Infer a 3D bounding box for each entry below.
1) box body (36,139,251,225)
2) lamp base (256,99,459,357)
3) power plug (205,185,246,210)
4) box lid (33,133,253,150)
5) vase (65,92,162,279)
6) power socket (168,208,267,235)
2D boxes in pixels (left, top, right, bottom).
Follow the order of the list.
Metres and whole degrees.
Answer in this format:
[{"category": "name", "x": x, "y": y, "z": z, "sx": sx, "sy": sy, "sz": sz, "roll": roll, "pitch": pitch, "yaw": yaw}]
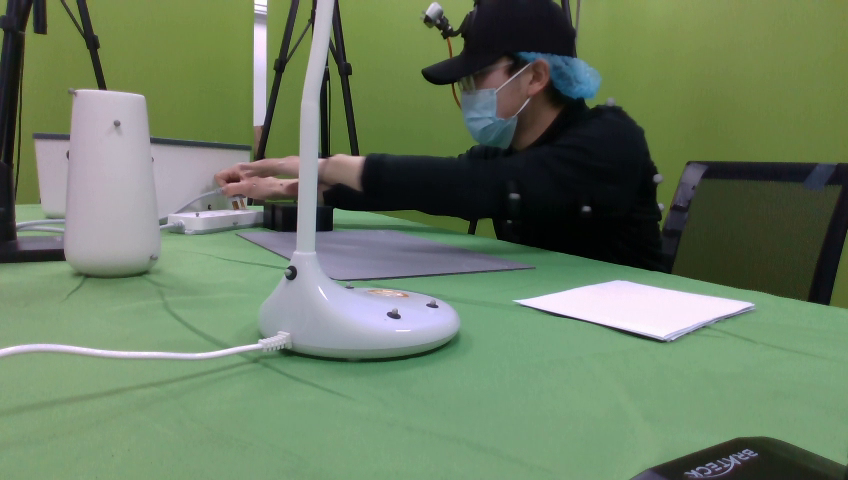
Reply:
[{"category": "box body", "x": -0.559, "y": -0.127, "z": 1.257, "sx": 0.253, "sy": 0.160, "sz": 0.365, "roll": 4, "pitch": 8, "yaw": 15}, {"category": "lamp base", "x": -0.055, "y": -0.013, "z": 0.463, "sx": 0.160, "sy": 0.180, "sz": 0.180, "roll": 6, "pitch": 11, "yaw": 27}, {"category": "power plug", "x": -0.387, "y": -0.081, "z": 1.197, "sx": 0.072, "sy": 0.052, "sz": 0.035, "roll": -10, "pitch": 11, "yaw": 14}, {"category": "box lid", "x": -0.555, "y": -0.199, "z": 1.249, "sx": 0.263, "sy": 0.015, "sz": 0.372, "roll": 5, "pitch": 8, "yaw": 15}, {"category": "vase", "x": -0.347, "y": -0.060, "z": 0.673, "sx": 0.098, "sy": 0.200, "sz": 0.098, "roll": 1, "pitch": 7, "yaw": 0}, {"category": "power socket", "x": -0.379, "y": -0.038, "z": 1.129, "sx": 0.072, "sy": 0.032, "sz": 0.227, "roll": 4, "pitch": 8, "yaw": 19}]
